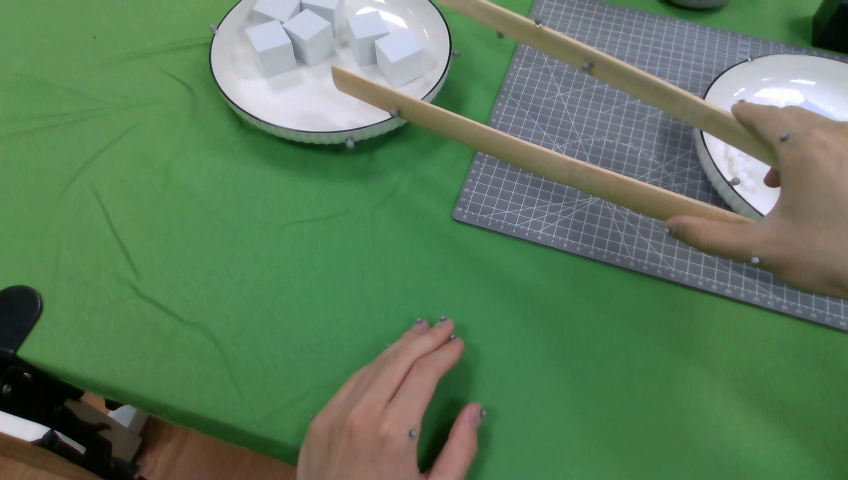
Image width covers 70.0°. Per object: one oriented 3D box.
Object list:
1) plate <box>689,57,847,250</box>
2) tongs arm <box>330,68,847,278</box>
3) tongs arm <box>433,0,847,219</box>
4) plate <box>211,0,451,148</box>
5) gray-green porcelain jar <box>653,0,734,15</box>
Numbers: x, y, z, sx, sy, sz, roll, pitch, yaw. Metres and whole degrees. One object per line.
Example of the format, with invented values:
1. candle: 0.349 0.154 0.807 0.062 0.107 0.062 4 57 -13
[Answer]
1. plate: 0.315 -0.062 0.486 0.209 0.038 0.207 1 58 0
2. tongs arm: 0.084 -0.057 0.413 0.384 0.028 0.028 25 57 25
3. tongs arm: 0.130 -0.103 0.438 0.381 0.027 0.050 35 65 29
4. plate: -0.080 -0.158 0.542 0.208 0.039 0.205 1 58 -1
5. gray-green porcelain jar: 0.273 -0.294 0.582 0.106 0.127 0.105 0 57 0
